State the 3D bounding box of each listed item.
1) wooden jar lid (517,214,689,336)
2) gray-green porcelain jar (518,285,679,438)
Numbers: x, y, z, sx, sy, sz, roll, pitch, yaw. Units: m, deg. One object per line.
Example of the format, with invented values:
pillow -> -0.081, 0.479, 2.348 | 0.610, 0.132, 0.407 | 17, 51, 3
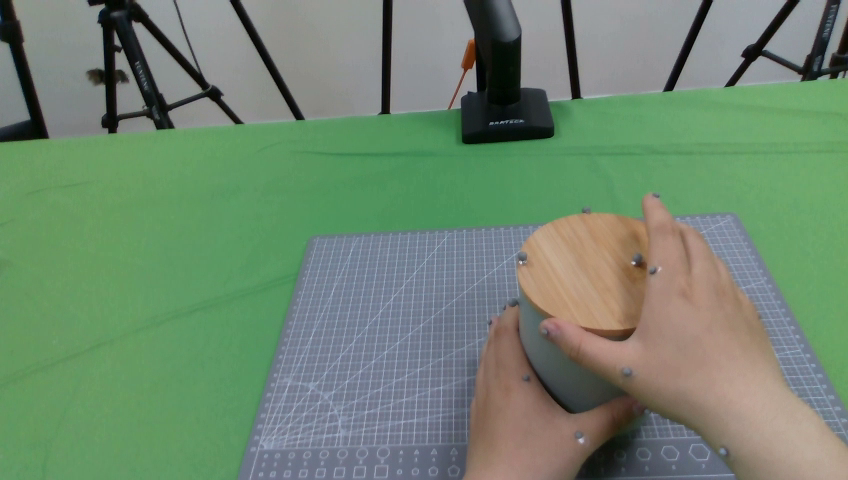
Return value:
wooden jar lid -> 0.115, 0.024, 0.398 | 0.108, 0.021, 0.107 | -5, 41, 5
gray-green porcelain jar -> 0.122, 0.072, 0.438 | 0.106, 0.128, 0.105 | -5, 40, 4
